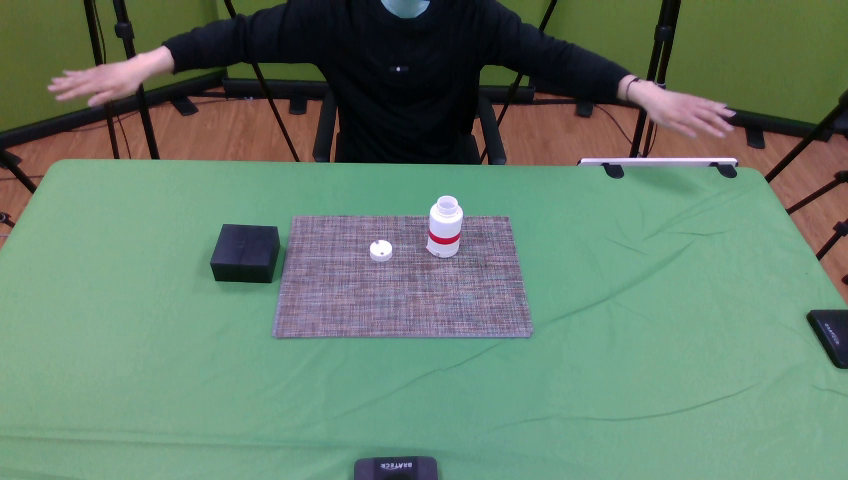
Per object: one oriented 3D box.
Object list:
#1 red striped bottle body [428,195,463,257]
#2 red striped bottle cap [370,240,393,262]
[{"bbox_3d":[0.041,-0.028,1.152,0.063,0.120,0.062,2,46,-2],"label":"red striped bottle body"},{"bbox_3d":[-0.082,0.020,1.168,0.044,0.018,0.044,-2,47,3],"label":"red striped bottle cap"}]
